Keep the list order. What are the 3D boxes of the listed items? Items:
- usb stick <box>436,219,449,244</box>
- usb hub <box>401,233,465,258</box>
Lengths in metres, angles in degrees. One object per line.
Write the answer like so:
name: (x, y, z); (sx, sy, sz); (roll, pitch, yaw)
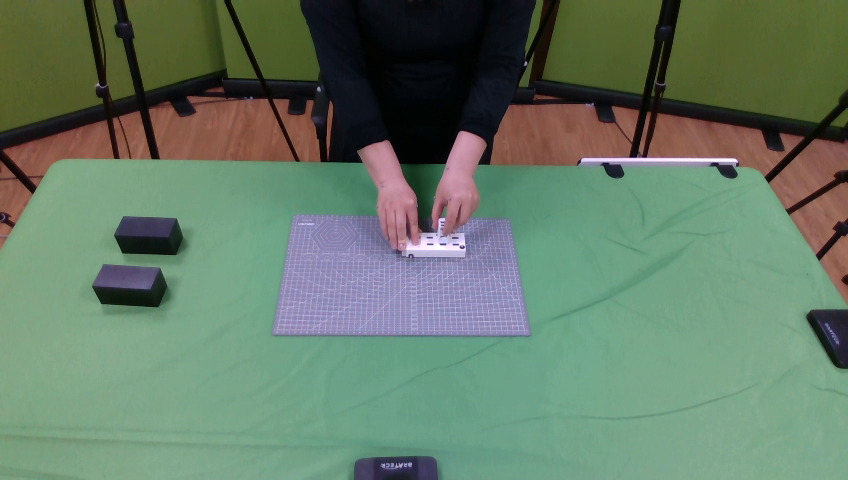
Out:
usb stick: (0.035, -0.012, 1.166); (0.021, 0.059, 0.027); (-3, 49, -5)
usb hub: (0.017, 0.011, 1.183); (0.125, 0.025, 0.049); (0, 46, -3)
